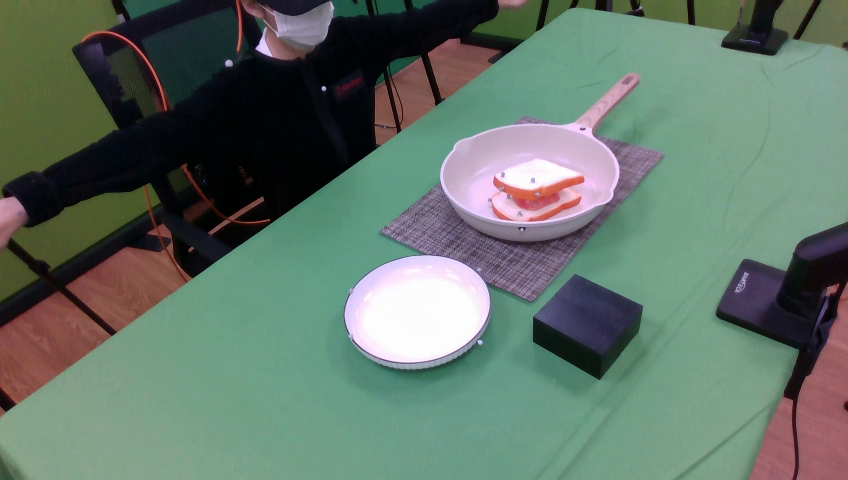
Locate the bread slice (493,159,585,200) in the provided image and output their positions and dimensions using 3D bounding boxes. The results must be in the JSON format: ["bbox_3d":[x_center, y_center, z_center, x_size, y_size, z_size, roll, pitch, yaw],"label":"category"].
[{"bbox_3d":[0.182,-0.100,0.985,0.132,0.019,0.104,-20,34,-33],"label":"bread slice"}]

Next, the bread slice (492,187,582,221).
[{"bbox_3d":[0.183,-0.067,1.016,0.135,0.018,0.106,-29,43,-23],"label":"bread slice"}]

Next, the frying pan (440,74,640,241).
[{"bbox_3d":[0.245,-0.161,1.058,0.304,0.103,0.489,30,61,35],"label":"frying pan"}]

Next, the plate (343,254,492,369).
[{"bbox_3d":[-0.008,0.100,0.847,0.207,0.039,0.206,-4,40,4],"label":"plate"}]
